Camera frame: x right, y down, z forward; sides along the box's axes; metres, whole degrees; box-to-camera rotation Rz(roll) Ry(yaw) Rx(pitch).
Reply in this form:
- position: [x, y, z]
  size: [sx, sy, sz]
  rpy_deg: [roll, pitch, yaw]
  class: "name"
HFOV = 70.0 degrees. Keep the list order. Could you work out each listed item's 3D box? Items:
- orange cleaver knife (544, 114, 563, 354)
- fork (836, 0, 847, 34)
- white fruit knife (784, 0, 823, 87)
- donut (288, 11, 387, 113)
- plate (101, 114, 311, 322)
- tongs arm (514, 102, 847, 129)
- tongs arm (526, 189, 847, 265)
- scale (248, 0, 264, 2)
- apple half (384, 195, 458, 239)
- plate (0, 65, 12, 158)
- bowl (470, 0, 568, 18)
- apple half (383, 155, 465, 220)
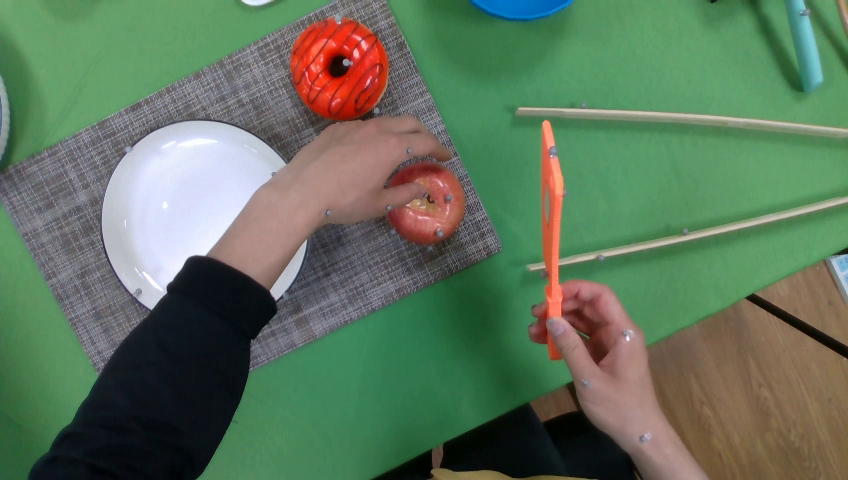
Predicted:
- position: [0.103, 0.004, 0.488]
  size: [0.012, 0.076, 0.213]
  rpy_deg: [-4, 129, 7]
  class: "orange cleaver knife"
- position: [0.411, -0.231, 0.589]
  size: [0.028, 0.018, 0.209]
  rpy_deg: [-36, 110, 1]
  class: "fork"
- position: [0.349, -0.243, 0.580]
  size: [0.016, 0.027, 0.209]
  rpy_deg: [-28, 110, 3]
  class: "white fruit knife"
- position: [-0.085, -0.175, 0.599]
  size: [0.099, 0.048, 0.099]
  rpy_deg: [0, 98, 1]
  class: "donut"
- position: [-0.217, -0.022, 0.618]
  size: [0.209, 0.038, 0.209]
  rpy_deg: [0, 96, 0]
  class: "plate"
- position: [0.284, -0.120, 0.617]
  size: [0.388, 0.028, 0.028]
  rpy_deg: [4, 88, -1]
  class: "tongs arm"
- position: [0.292, -0.034, 0.624]
  size: [0.385, 0.026, 0.051]
  rpy_deg: [-10, 92, 0]
  class: "tongs arm"
- position: [-0.151, -0.353, 0.590]
  size: [0.148, 0.031, 0.201]
  rpy_deg: [-21, 96, 3]
  class: "scale"
- position: [-0.007, -0.018, 0.601]
  size: [0.081, 0.081, 0.033]
  rpy_deg: [20, 90, -2]
  class: "apple half"
- position: [-0.514, -0.135, 0.609]
  size: [0.208, 0.039, 0.208]
  rpy_deg: [0, 96, 0]
  class: "plate"
- position: [0.088, -0.281, 0.575]
  size: [0.151, 0.076, 0.151]
  rpy_deg: [0, 97, 0]
  class: "bowl"
- position: [0.005, -0.056, 0.598]
  size: [0.081, 0.074, 0.053]
  rpy_deg: [18, 91, 1]
  class: "apple half"
